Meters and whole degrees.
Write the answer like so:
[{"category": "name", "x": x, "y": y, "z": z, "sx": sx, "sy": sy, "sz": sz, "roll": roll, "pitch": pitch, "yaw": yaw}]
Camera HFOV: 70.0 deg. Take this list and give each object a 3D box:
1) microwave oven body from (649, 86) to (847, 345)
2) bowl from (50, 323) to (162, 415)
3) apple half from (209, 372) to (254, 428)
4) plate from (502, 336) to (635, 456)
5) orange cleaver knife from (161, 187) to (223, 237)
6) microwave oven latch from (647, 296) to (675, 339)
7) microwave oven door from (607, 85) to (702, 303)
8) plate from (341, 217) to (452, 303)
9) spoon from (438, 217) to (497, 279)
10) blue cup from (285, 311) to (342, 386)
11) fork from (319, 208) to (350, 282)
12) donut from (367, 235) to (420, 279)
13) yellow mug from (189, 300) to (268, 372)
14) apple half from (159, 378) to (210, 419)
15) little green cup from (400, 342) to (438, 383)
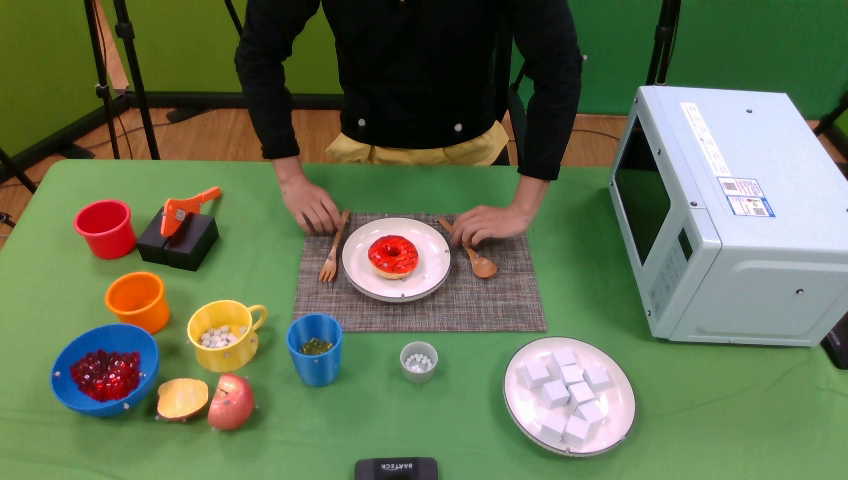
[{"category": "microwave oven body", "x": 0.568, "y": -0.053, "z": 1.118, "sx": 0.326, "sy": 0.261, "sz": 0.439, "roll": 2, "pitch": 45, "yaw": -1}, {"category": "bowl", "x": -0.472, "y": 0.209, "z": 0.924, "sx": 0.151, "sy": 0.077, "sz": 0.150, "roll": 3, "pitch": 45, "yaw": -2}, {"category": "apple half", "x": -0.282, "y": 0.243, "z": 0.908, "sx": 0.053, "sy": 0.075, "sz": 0.080, "roll": 8, "pitch": 42, "yaw": -3}, {"category": "plate", "x": 0.225, "y": 0.248, "z": 0.963, "sx": 0.208, "sy": 0.039, "sz": 0.206, "roll": 2, "pitch": 46, "yaw": -2}, {"category": "orange cleaver knife", "x": -0.448, "y": -0.058, "z": 1.181, "sx": 0.012, "sy": 0.077, "sz": 0.211, "roll": 13, "pitch": 17, "yaw": 6}, {"category": "microwave oven latch", "x": 0.413, "y": 0.134, "z": 1.061, "sx": 0.030, "sy": 0.029, "sz": 0.078, "roll": 5, "pitch": 45, "yaw": 2}, {"category": "microwave oven door", "x": 0.423, "y": -0.094, "z": 1.141, "sx": 0.039, "sy": 0.245, "sz": 0.353, "roll": 2, "pitch": 46, "yaw": -1}, {"category": "plate", "x": -0.052, "y": 0.039, "z": 1.140, "sx": 0.209, "sy": 0.038, "sz": 0.208, "roll": 2, "pitch": 46, "yaw": -2}, {"category": "spoon", "x": 0.081, "y": 0.010, "z": 1.189, "sx": 0.041, "sy": 0.022, "sz": 0.192, "roll": -36, "pitch": 55, "yaw": -3}, {"category": "blue cup", "x": -0.170, "y": 0.179, "z": 0.958, "sx": 0.093, "sy": 0.101, "sz": 0.092, "roll": 2, "pitch": 44, "yaw": -2}, {"category": "fork", "x": -0.170, "y": 0.006, "z": 1.177, "sx": 0.028, "sy": 0.019, "sz": 0.206, "roll": 0, "pitch": 47, "yaw": 10}, {"category": "donut", "x": -0.056, "y": 0.032, "z": 1.131, "sx": 0.099, "sy": 0.048, "sz": 0.098, "roll": 3, "pitch": 46, "yaw": -3}, {"category": "yellow mug", "x": -0.316, "y": 0.148, "z": 1.002, "sx": 0.131, "sy": 0.064, "sz": 0.099, "roll": -32, "pitch": 55, "yaw": -31}, {"category": "apple half", "x": -0.366, "y": 0.247, "z": 0.926, "sx": 0.081, "sy": 0.033, "sz": 0.081, "roll": 8, "pitch": 31, "yaw": -5}, {"category": "little green cup", "x": -0.010, "y": 0.202, "z": 0.991, "sx": 0.061, "sy": 0.039, "sz": 0.061, "roll": 2, "pitch": 47, "yaw": -2}]
